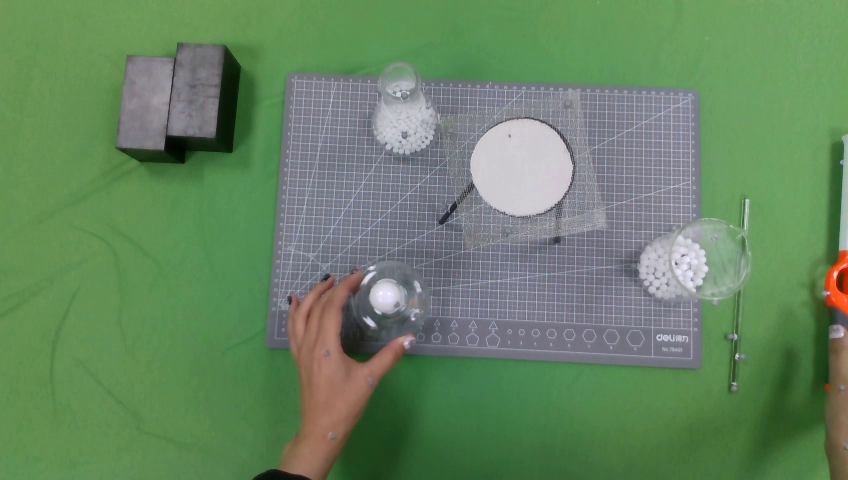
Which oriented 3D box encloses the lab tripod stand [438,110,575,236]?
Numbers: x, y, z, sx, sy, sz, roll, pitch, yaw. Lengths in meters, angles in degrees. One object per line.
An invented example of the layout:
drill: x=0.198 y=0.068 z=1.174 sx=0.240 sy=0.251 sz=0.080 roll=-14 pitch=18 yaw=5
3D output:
lab tripod stand: x=0.083 y=-0.057 z=0.582 sx=0.148 sy=0.132 sz=0.148 roll=0 pitch=85 yaw=1

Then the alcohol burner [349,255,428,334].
alcohol burner: x=-0.036 y=0.051 z=0.580 sx=0.078 sy=0.119 sz=0.077 roll=0 pitch=81 yaw=3

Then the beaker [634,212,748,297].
beaker: x=0.255 y=0.016 z=0.589 sx=0.084 sy=0.100 sz=0.074 roll=-34 pitch=84 yaw=-4

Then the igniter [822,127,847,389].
igniter: x=0.441 y=0.016 z=0.626 sx=0.057 sy=0.025 sz=0.275 roll=10 pitch=83 yaw=-9

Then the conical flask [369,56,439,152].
conical flask: x=-0.023 y=-0.138 z=0.598 sx=0.075 sy=0.122 sz=0.075 roll=0 pitch=82 yaw=1

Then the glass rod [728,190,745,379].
glass rod: x=0.327 y=0.044 z=0.633 sx=0.008 sy=0.008 sz=0.199 roll=7 pitch=83 yaw=1

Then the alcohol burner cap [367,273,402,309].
alcohol burner cap: x=-0.036 y=0.046 z=0.544 sx=0.034 sy=0.048 sz=0.034 roll=0 pitch=87 yaw=-2

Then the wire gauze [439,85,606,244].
wire gauze: x=0.083 y=-0.064 z=0.515 sx=0.125 sy=0.011 sz=0.121 roll=-10 pitch=83 yaw=0
